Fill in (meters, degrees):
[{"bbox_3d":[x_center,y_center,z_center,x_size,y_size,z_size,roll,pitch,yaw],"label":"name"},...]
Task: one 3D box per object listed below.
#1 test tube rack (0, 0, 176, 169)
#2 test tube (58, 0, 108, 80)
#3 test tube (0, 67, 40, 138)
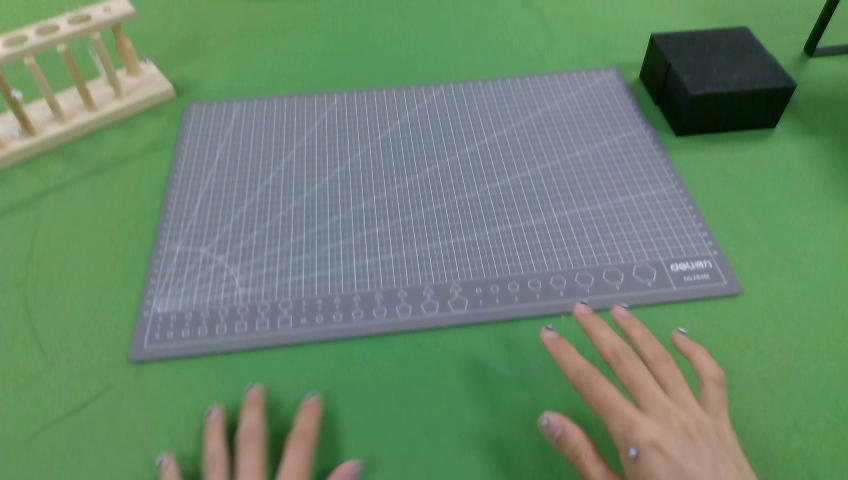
[{"bbox_3d":[-0.372,-0.137,0.563,0.242,0.086,0.066,-32,56,-23],"label":"test tube rack"},{"bbox_3d":[-0.329,-0.216,0.564,0.017,0.152,0.017,-3,47,4],"label":"test tube"},{"bbox_3d":[-0.372,-0.150,0.516,0.017,0.152,0.017,-1,48,2],"label":"test tube"}]
